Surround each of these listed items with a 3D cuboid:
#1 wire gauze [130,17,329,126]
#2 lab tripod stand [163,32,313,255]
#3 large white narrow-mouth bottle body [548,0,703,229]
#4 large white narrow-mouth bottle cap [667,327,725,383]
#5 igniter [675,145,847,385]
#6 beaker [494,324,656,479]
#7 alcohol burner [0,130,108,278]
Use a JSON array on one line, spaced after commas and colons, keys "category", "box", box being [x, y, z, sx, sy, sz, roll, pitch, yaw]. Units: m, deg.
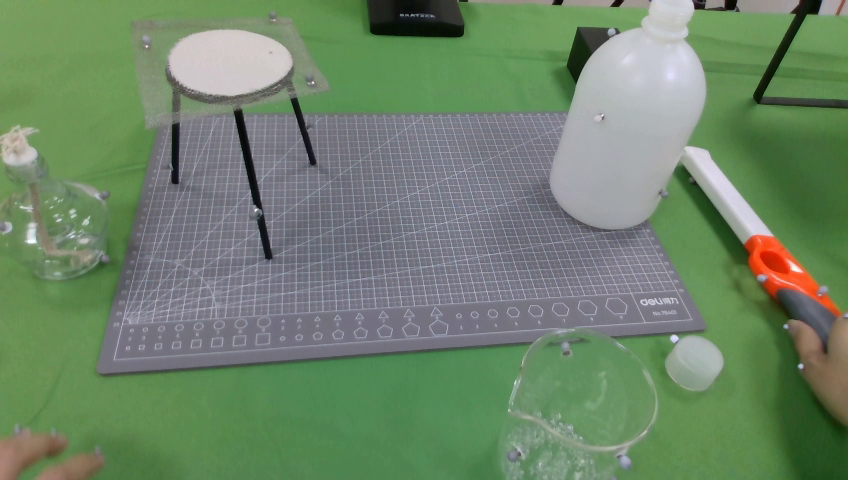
[{"category": "wire gauze", "box": [-0.143, -0.130, 0.436, 0.122, 0.011, 0.123, -12, 51, -19]}, {"category": "lab tripod stand", "box": [-0.144, -0.082, 0.484, 0.148, 0.132, 0.147, 5, 47, -5]}, {"category": "large white narrow-mouth bottle body", "box": [0.172, -0.108, 0.506, 0.102, 0.196, 0.101, 3, 46, -3]}, {"category": "large white narrow-mouth bottle cap", "box": [0.202, 0.086, 0.452, 0.038, 0.024, 0.037, 3, 46, -3]}, {"category": "igniter", "box": [0.296, 0.007, 0.531, 0.057, 0.025, 0.273, 5, 44, -20]}, {"category": "beaker", "box": [0.080, 0.110, 0.359, 0.084, 0.101, 0.073, -11, 49, -15]}, {"category": "alcohol burner", "box": [-0.274, -0.029, 0.435, 0.078, 0.120, 0.077, 5, 45, -4]}]
